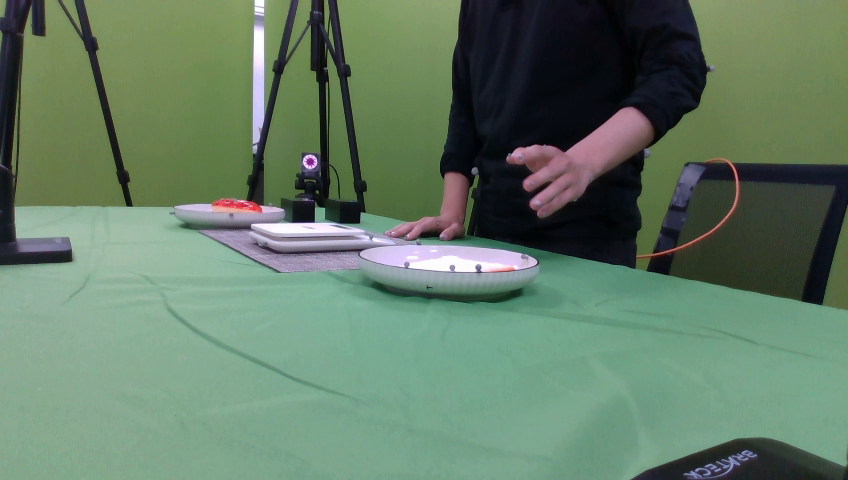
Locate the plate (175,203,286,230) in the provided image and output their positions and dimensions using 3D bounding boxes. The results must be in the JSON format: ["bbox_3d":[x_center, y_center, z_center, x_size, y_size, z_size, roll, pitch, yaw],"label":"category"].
[{"bbox_3d":[-0.380,-0.047,1.199,0.208,0.039,0.207,2,7,0],"label":"plate"}]

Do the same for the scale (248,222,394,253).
[{"bbox_3d":[-0.162,-0.006,0.954,0.202,0.031,0.148,-1,9,-32],"label":"scale"}]

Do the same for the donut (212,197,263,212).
[{"bbox_3d":[-0.376,-0.061,1.220,0.099,0.048,0.099,5,4,0],"label":"donut"}]

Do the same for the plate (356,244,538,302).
[{"bbox_3d":[0.025,0.036,0.693,0.209,0.038,0.209,3,7,0],"label":"plate"}]

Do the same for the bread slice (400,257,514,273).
[{"bbox_3d":[0.029,0.038,0.689,0.104,0.019,0.132,8,10,37],"label":"bread slice"}]
